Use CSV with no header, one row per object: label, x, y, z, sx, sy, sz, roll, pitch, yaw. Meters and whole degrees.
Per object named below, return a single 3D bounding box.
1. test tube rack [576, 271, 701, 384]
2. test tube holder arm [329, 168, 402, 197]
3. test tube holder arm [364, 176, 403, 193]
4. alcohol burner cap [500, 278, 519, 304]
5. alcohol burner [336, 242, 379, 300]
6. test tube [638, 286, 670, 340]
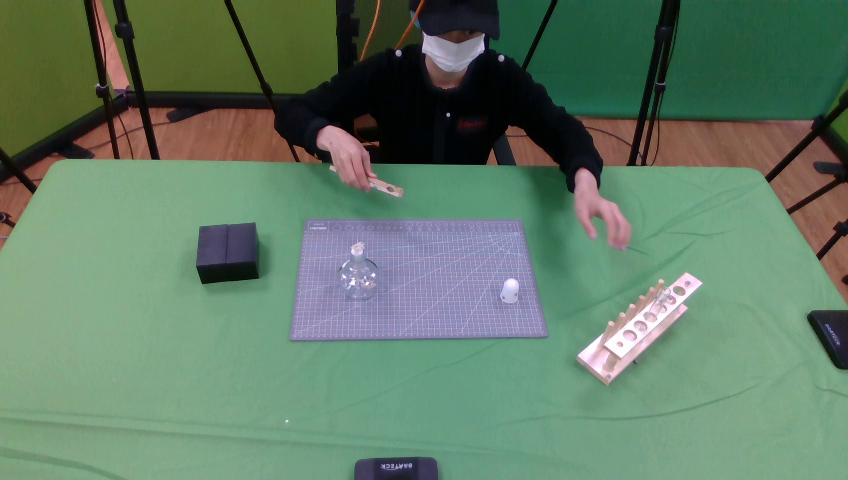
test tube rack,0.373,0.138,1.047,0.242,0.085,0.066,-31,56,-29
test tube holder arm,-0.118,-0.115,1.187,0.177,0.013,0.015,20,6,29
test tube holder arm,-0.079,-0.106,1.165,0.087,0.010,0.015,21,7,29
alcohol burner cap,0.157,0.090,1.104,0.034,0.048,0.033,2,46,-2
alcohol burner,-0.118,0.050,1.072,0.078,0.120,0.077,2,44,-1
test tube,0.373,0.122,0.994,0.017,0.151,0.017,0,51,0
